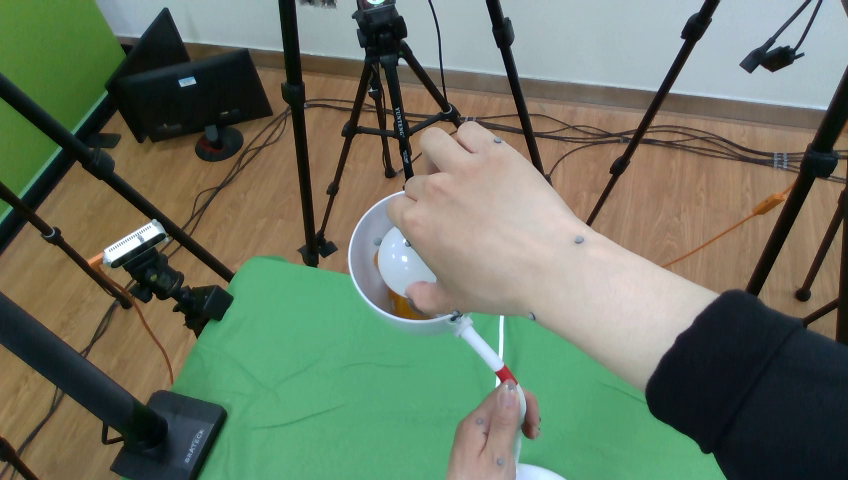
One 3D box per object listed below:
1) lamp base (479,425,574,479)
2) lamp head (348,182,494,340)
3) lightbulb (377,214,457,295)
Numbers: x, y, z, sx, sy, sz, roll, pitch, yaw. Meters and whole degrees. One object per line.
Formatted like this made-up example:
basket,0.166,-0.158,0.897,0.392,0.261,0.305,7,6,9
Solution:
lamp base,0.110,0.283,0.650,0.161,0.182,0.177,-23,52,-10
lamp head,0.003,0.031,0.502,0.112,0.124,0.111,-3,62,6
lightbulb,-0.004,0.019,0.472,0.059,0.108,0.059,-1,71,3
